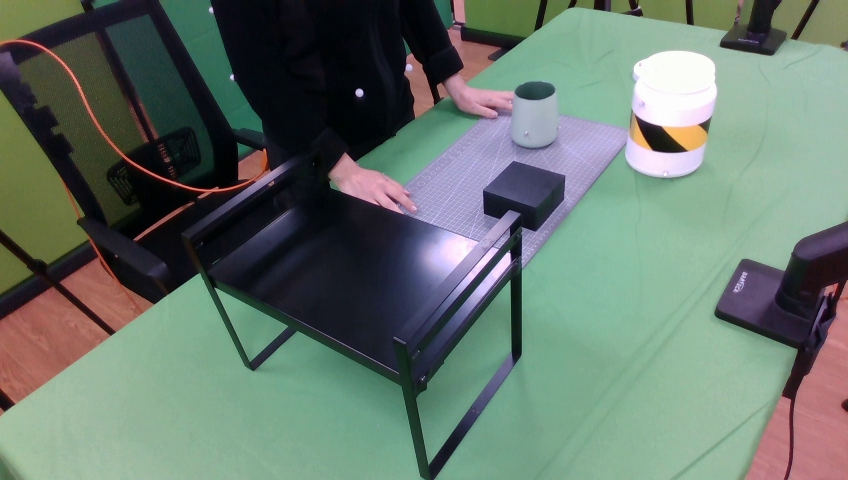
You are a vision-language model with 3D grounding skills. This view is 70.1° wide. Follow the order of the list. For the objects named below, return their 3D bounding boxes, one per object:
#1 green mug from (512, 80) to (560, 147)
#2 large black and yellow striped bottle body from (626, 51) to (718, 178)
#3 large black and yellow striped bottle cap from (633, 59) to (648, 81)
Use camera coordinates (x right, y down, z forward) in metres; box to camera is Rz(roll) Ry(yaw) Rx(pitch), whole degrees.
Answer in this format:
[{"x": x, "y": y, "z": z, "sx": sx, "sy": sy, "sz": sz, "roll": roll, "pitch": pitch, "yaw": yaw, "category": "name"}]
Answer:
[{"x": 0.217, "y": -0.251, "z": 1.168, "sx": 0.092, "sy": 0.105, "sz": 0.125, "roll": 1, "pitch": 41, "yaw": 11, "category": "green mug"}, {"x": 0.423, "y": -0.214, "z": 1.038, "sx": 0.131, "sy": 0.185, "sz": 0.130, "roll": -4, "pitch": 41, "yaw": 4, "category": "large black and yellow striped bottle body"}, {"x": 0.521, "y": -0.370, "z": 1.332, "sx": 0.115, "sy": 0.019, "sz": 0.114, "roll": -3, "pitch": 41, "yaw": 3, "category": "large black and yellow striped bottle cap"}]
